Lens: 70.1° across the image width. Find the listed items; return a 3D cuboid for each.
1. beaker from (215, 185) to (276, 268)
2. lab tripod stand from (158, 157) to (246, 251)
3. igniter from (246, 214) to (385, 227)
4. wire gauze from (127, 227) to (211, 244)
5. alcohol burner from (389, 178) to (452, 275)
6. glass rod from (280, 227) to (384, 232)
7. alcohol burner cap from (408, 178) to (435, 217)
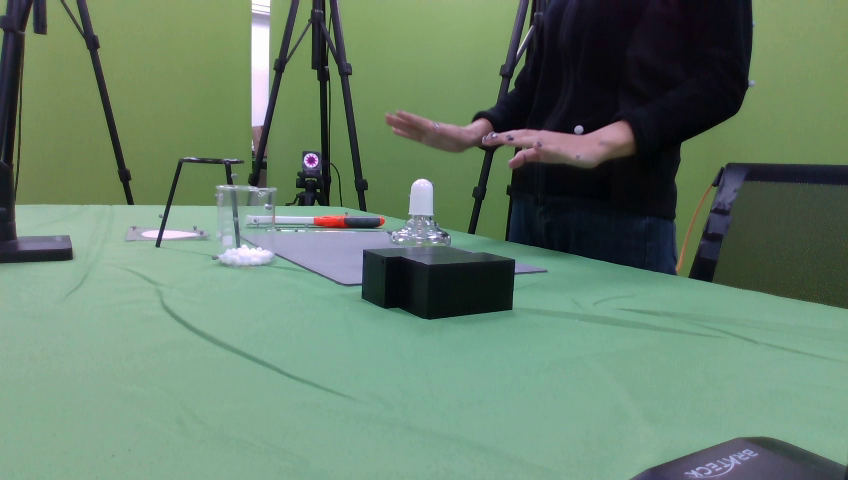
[{"bbox_3d":[-0.226,-0.019,0.773,0.074,0.100,0.084,5,7,14],"label":"beaker"},{"bbox_3d":[-0.314,-0.055,0.891,0.148,0.131,0.148,2,9,0],"label":"lab tripod stand"},{"bbox_3d":[-0.214,-0.040,1.216,0.278,0.025,0.057,0,-2,-23],"label":"igniter"},{"bbox_3d":[-0.420,-0.010,0.999,0.122,0.011,0.124,-2,10,-24],"label":"wire gauze"},{"bbox_3d":[-0.004,-0.017,0.749,0.078,0.119,0.078,1,9,0],"label":"alcohol burner"},{"bbox_3d":[-0.175,-0.021,1.162,0.200,0.008,0.008,1,7,-15],"label":"glass rod"},{"bbox_3d":[-0.002,-0.053,0.746,0.034,0.048,0.034,3,3,0],"label":"alcohol burner cap"}]
